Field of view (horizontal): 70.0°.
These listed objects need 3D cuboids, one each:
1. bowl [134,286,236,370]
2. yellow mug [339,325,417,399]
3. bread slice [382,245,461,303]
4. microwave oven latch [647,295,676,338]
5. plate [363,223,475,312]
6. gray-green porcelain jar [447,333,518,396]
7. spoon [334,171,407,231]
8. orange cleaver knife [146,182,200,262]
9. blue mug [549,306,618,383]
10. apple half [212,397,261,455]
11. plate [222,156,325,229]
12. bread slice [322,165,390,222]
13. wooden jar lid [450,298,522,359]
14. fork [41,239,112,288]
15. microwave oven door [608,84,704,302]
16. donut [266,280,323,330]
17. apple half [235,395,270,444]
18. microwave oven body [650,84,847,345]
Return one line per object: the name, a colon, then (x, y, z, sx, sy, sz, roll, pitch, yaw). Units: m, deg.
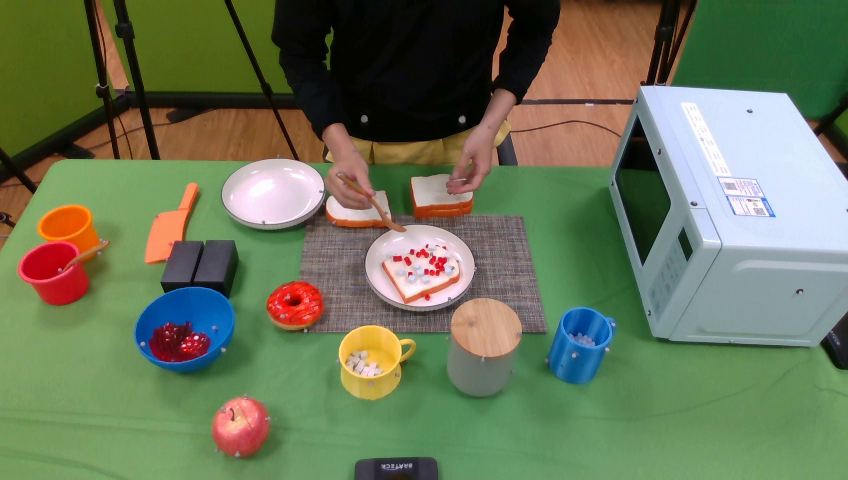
bowl: (-0.377, 0.155, 0.981, 0.151, 0.077, 0.150, 2, 46, -2)
yellow mug: (-0.072, 0.191, 0.978, 0.131, 0.064, 0.099, -17, 50, -20)
bread slice: (0.000, 0.054, 1.128, 0.131, 0.019, 0.104, -20, 52, -21)
microwave oven latch: (0.413, 0.133, 1.060, 0.030, 0.029, 0.078, 4, 46, 1)
plate: (-0.009, 0.054, 1.127, 0.208, 0.039, 0.206, 2, 46, -2)
gray-green porcelain jar: (0.091, 0.178, 0.960, 0.106, 0.127, 0.105, 2, 46, -2)
spoon: (-0.093, -0.067, 1.073, 0.021, 0.195, 0.041, -48, 41, -4)
orange cleaver knife: (-0.494, -0.039, 1.198, 0.077, 0.012, 0.210, -3, 48, 2)
blue mug: (0.269, 0.167, 0.997, 0.116, 0.106, 0.082, -19, 51, -21)
apple half: (-0.276, 0.276, 0.877, 0.053, 0.075, 0.080, -29, 58, -21)
plate: (-0.308, -0.094, 1.251, 0.209, 0.038, 0.208, 2, 47, -2)
bread slice: (-0.141, -0.093, 1.223, 0.134, 0.018, 0.106, -20, 51, 6)
wooden jar lid: (0.093, 0.135, 0.914, 0.108, 0.021, 0.107, 2, 49, -3)
fork: (-0.591, 0.040, 1.028, 0.207, 0.019, 0.028, -27, 37, 29)
microwave oven door: (0.424, -0.096, 1.138, 0.039, 0.245, 0.353, 2, 47, -1)
donut: (-0.223, 0.113, 1.051, 0.099, 0.048, 0.098, 2, 46, -2)
apple half: (-0.245, 0.260, 0.893, 0.033, 0.082, 0.081, -29, 55, -22)
microwave oven body: (0.569, -0.054, 1.116, 0.326, 0.261, 0.439, 2, 46, -1)
